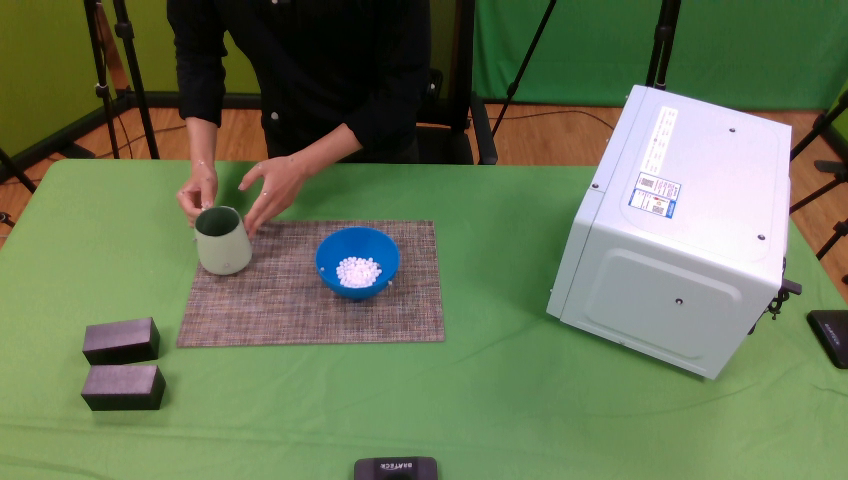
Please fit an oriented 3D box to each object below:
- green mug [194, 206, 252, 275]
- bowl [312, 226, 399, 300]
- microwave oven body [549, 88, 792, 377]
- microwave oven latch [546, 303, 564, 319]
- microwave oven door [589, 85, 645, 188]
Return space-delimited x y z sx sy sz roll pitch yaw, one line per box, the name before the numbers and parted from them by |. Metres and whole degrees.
green mug | -0.377 -0.008 1.112 0.092 0.105 0.124 -26 54 -26
bowl | -0.121 0.054 1.091 0.151 0.077 0.150 2 46 -2
microwave oven body | 0.456 -0.028 1.088 0.325 0.261 0.440 20 47 16
microwave oven latch | 0.242 0.102 1.081 0.030 0.029 0.079 21 48 17
microwave oven door | 0.342 -0.107 1.148 0.039 0.245 0.354 20 48 15
